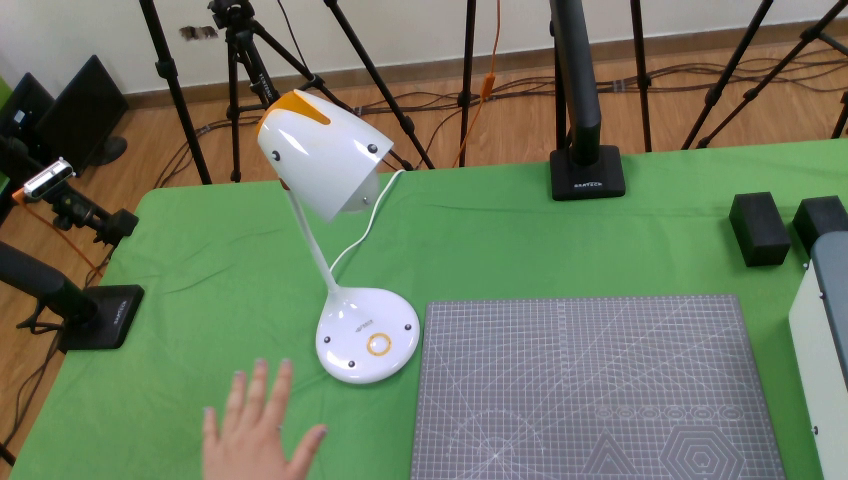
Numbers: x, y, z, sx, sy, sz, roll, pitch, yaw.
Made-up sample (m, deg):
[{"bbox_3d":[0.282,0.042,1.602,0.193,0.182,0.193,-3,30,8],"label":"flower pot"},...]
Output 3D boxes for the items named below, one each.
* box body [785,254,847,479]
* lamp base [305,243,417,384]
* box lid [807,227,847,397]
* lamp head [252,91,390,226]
[{"bbox_3d":[0.571,0.178,0.653,0.253,0.162,0.361,0,52,13],"label":"box body"},{"bbox_3d":[-0.112,0.091,0.863,0.177,0.182,0.160,32,64,34],"label":"lamp base"},{"bbox_3d":[0.559,0.130,0.598,0.262,0.015,0.368,0,53,13],"label":"box lid"},{"bbox_3d":[-0.114,-0.090,0.624,0.123,0.112,0.112,36,62,-4],"label":"lamp head"}]
